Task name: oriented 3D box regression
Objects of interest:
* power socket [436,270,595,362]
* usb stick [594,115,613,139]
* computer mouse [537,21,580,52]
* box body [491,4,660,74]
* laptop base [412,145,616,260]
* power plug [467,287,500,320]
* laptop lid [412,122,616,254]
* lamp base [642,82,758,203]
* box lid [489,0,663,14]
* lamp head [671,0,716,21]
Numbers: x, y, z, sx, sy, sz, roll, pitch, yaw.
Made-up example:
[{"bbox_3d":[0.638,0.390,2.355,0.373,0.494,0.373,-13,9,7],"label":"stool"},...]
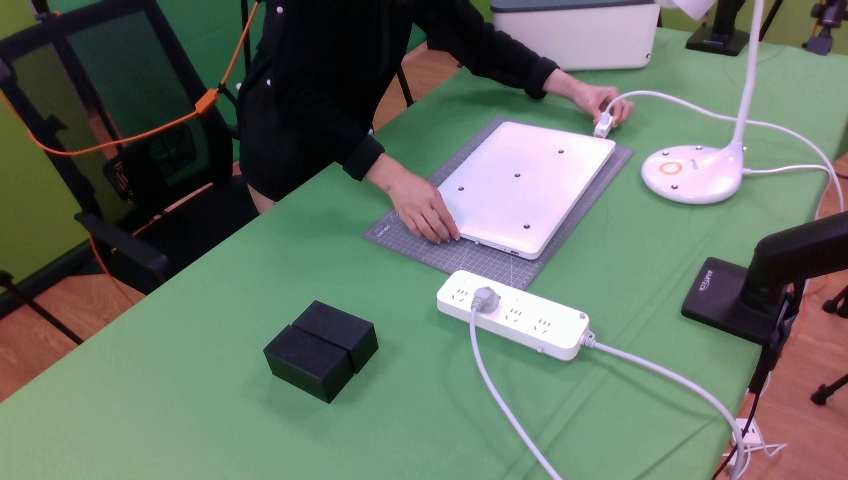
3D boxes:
[{"bbox_3d":[0.118,0.101,0.832,0.225,0.033,0.072,19,48,27],"label":"power socket"},{"bbox_3d":[0.340,-0.211,1.154,0.021,0.027,0.059,23,58,23],"label":"usb stick"},{"bbox_3d":[0.335,-0.503,1.487,0.118,0.041,0.062,21,20,-28],"label":"computer mouse"},{"bbox_3d":[0.346,-0.520,1.429,0.363,0.161,0.253,0,41,9],"label":"box body"},{"bbox_3d":[0.168,-0.101,1.072,0.234,0.023,0.355,16,45,30],"label":"laptop base"},{"bbox_3d":[0.073,0.092,0.814,0.035,0.053,0.073,29,54,34],"label":"power plug"},{"bbox_3d":[0.165,-0.110,1.066,0.240,0.013,0.357,19,46,31],"label":"laptop lid"},{"bbox_3d":[0.464,-0.174,0.992,0.179,0.181,0.159,-5,41,-2],"label":"lamp base"},{"bbox_3d":[0.340,-0.575,1.380,0.371,0.015,0.262,0,41,9],"label":"box lid"},{"bbox_3d":[0.375,-0.373,0.807,0.122,0.113,0.112,-40,27,32],"label":"lamp head"}]
